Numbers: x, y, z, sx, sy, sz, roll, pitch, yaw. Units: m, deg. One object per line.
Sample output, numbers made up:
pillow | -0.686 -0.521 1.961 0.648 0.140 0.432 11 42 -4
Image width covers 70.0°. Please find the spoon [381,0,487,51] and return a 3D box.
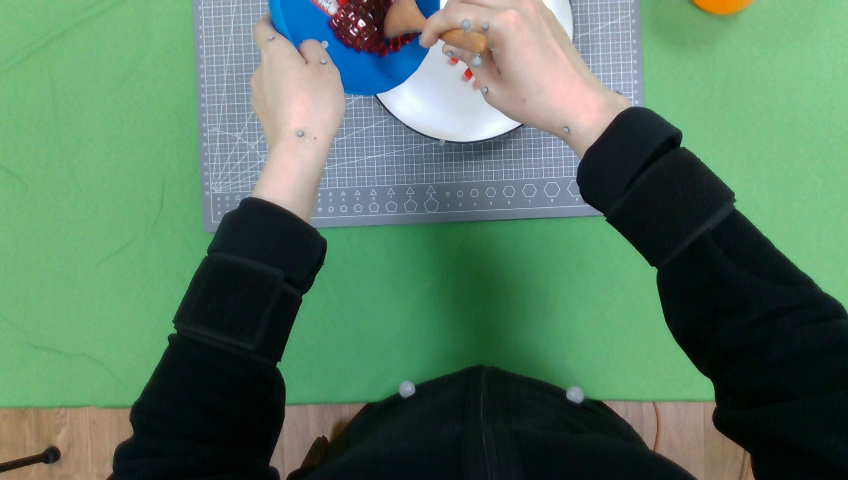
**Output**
spoon | 0.004 -0.161 0.448 0.022 0.191 0.041 24 104 -34

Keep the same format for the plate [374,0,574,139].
plate | 0.039 -0.201 0.591 0.209 0.038 0.209 0 91 3

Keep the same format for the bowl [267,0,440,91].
bowl | -0.069 -0.203 0.497 0.152 0.076 0.152 -16 117 -35
